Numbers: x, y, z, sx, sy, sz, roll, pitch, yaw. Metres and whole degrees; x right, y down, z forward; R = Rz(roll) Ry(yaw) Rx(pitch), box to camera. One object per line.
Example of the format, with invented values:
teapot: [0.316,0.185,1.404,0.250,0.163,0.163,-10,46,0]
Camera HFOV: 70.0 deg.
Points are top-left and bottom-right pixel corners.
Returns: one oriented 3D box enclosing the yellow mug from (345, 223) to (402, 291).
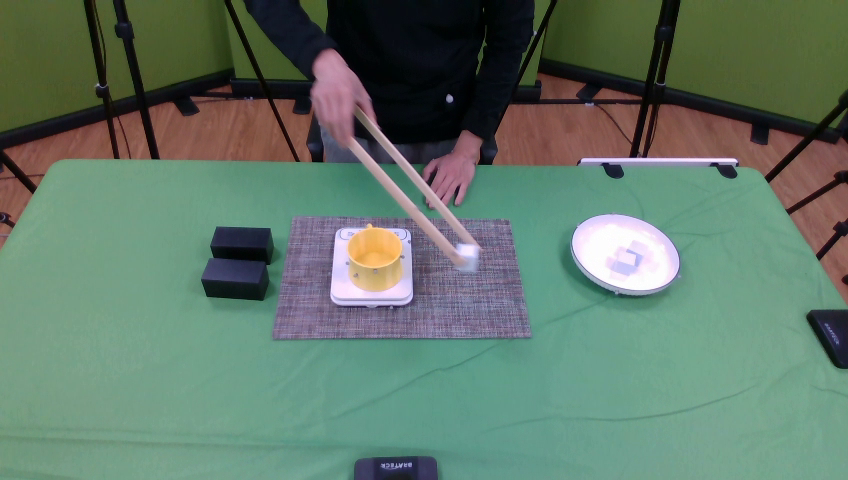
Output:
yellow mug: [-0.092,0.022,1.093,0.100,0.064,0.130,-8,46,-10]

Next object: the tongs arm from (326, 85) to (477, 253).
tongs arm: [-0.040,-0.126,1.032,0.028,0.028,0.386,-34,76,-27]

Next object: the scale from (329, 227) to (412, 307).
scale: [-0.099,0.042,1.139,0.149,0.032,0.199,1,46,-4]

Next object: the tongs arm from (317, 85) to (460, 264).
tongs arm: [-0.060,-0.114,1.018,0.051,0.026,0.384,-37,78,-31]

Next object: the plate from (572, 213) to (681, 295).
plate: [0.392,0.030,1.189,0.208,0.039,0.206,2,46,-2]
